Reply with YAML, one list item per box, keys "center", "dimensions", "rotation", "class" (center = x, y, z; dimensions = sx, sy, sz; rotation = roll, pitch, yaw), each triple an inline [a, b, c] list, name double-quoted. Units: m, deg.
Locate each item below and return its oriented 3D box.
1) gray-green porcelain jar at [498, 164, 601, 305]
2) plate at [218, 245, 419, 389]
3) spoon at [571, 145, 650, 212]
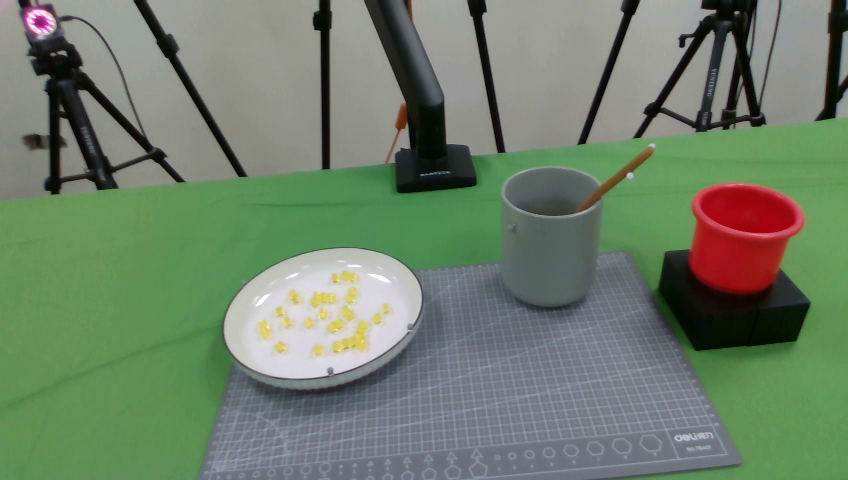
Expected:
- center: [0.132, -0.002, 0.653]
  dimensions: [0.106, 0.127, 0.105]
  rotation: [-3, 36, 3]
  class: "gray-green porcelain jar"
- center: [-0.108, 0.081, 0.641]
  dimensions: [0.207, 0.039, 0.205]
  rotation: [-3, 35, 2]
  class: "plate"
- center: [0.158, -0.029, 0.612]
  dimensions: [0.021, 0.194, 0.041]
  rotation: [46, 44, 14]
  class: "spoon"
